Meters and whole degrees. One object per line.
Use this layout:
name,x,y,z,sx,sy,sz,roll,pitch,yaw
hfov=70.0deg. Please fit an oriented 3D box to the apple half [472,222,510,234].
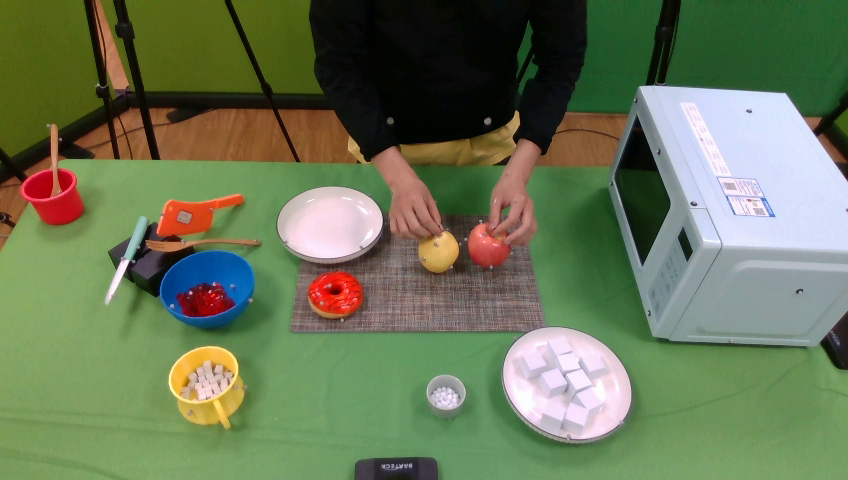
apple half,0.120,-0.009,1.137,0.081,0.081,0.032,2,48,-2

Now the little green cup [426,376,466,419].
little green cup,0.033,0.248,0.950,0.061,0.039,0.061,2,46,-2

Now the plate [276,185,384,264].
plate,-0.184,-0.027,1.195,0.209,0.038,0.208,2,46,-2

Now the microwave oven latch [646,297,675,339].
microwave oven latch,0.412,0.134,1.061,0.030,0.029,0.078,4,45,1

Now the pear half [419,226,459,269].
pear half,0.031,0.002,1.119,0.076,0.110,0.056,20,55,12

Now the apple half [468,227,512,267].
apple half,0.120,0.019,1.110,0.081,0.075,0.053,11,47,-11

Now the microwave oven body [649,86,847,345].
microwave oven body,0.567,-0.053,1.118,0.326,0.261,0.439,2,45,-1

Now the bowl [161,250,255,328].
bowl,-0.362,0.097,1.040,0.151,0.077,0.150,2,45,-2

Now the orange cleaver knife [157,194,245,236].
orange cleaver knife,-0.427,-0.050,1.175,0.012,0.077,0.211,22,19,20

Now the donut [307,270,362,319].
donut,-0.157,0.097,1.073,0.099,0.048,0.098,4,46,-4

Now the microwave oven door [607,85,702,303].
microwave oven door,0.423,-0.094,1.140,0.039,0.245,0.353,2,46,-1

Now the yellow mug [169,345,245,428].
yellow mug,-0.322,0.230,0.922,0.100,0.064,0.130,-24,53,-25

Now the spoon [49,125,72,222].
spoon,-0.717,-0.131,1.189,0.041,0.021,0.193,-3,90,-7

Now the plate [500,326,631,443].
plate,0.224,0.234,0.978,0.208,0.039,0.206,2,46,-2

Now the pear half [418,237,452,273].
pear half,0.016,0.032,1.106,0.070,0.088,0.031,20,53,10

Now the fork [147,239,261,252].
fork,-0.399,0.007,1.118,0.208,0.019,0.028,-4,36,-36

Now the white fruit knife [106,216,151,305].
white fruit knife,-0.519,0.032,1.066,0.027,0.016,0.206,-18,45,19
